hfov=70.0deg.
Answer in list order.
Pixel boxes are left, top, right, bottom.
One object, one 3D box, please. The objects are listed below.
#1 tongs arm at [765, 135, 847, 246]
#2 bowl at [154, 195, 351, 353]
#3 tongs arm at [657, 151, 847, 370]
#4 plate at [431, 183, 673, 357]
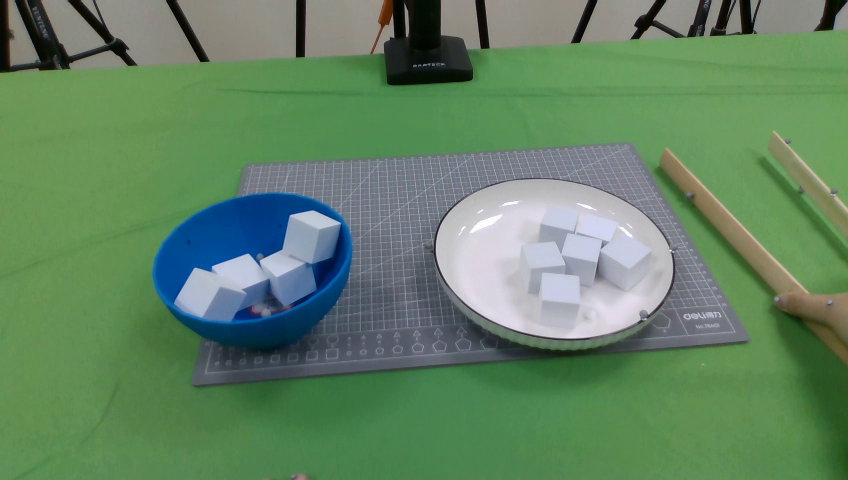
[{"bbox_3d":[0.389,0.021,0.545,0.051,0.027,0.380,-5,43,-4],"label":"tongs arm"},{"bbox_3d":[-0.131,0.039,0.495,0.151,0.077,0.150,0,41,0],"label":"bowl"},{"bbox_3d":[0.319,0.032,0.539,0.028,0.028,0.383,-10,43,-13],"label":"tongs arm"},{"bbox_3d":[0.110,0.025,0.539,0.208,0.039,0.205,0,42,0],"label":"plate"}]
